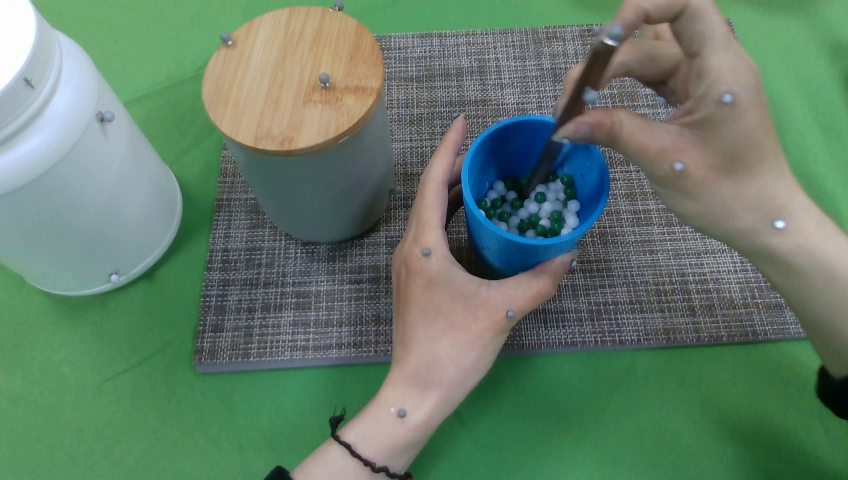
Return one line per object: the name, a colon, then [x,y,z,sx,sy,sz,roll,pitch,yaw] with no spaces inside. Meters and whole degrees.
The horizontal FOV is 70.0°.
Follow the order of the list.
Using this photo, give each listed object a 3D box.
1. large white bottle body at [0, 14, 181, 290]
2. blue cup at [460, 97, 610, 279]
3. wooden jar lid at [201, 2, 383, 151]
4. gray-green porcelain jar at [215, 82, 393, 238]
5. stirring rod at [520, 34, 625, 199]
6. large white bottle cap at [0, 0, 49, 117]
large white bottle body: [-0.255,-0.058,0.392,0.130,0.186,0.129,-1,63,1]
blue cup: [0.063,-0.019,0.388,0.092,0.101,0.092,0,67,0]
wooden jar lid: [-0.078,-0.097,0.366,0.108,0.021,0.107,-2,65,4]
gray-green porcelain jar: [-0.077,-0.068,0.422,0.106,0.127,0.105,-1,64,2]
stirring rod: [0.075,-0.057,0.334,0.014,0.177,0.006,-34,77,-11]
large white bottle cap: [-0.258,-0.096,0.316,0.115,0.018,0.114,0,64,1]
